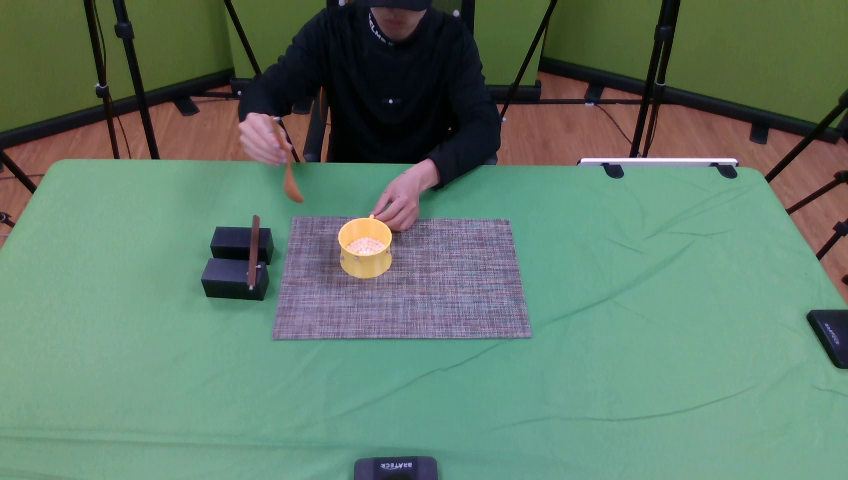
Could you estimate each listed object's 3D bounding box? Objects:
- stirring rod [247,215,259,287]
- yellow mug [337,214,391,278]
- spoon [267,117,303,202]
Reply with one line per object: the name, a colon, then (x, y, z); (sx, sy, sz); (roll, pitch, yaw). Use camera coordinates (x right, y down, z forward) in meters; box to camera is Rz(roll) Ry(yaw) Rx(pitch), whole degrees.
stirring rod: (-0.309, 0.016, 1.097); (0.014, 0.006, 0.175); (24, 36, -31)
yellow mug: (-0.110, 0.003, 1.152); (0.100, 0.064, 0.130); (7, 45, 2)
spoon: (-0.243, -0.135, 1.047); (0.041, 0.195, 0.021); (24, 52, 24)
